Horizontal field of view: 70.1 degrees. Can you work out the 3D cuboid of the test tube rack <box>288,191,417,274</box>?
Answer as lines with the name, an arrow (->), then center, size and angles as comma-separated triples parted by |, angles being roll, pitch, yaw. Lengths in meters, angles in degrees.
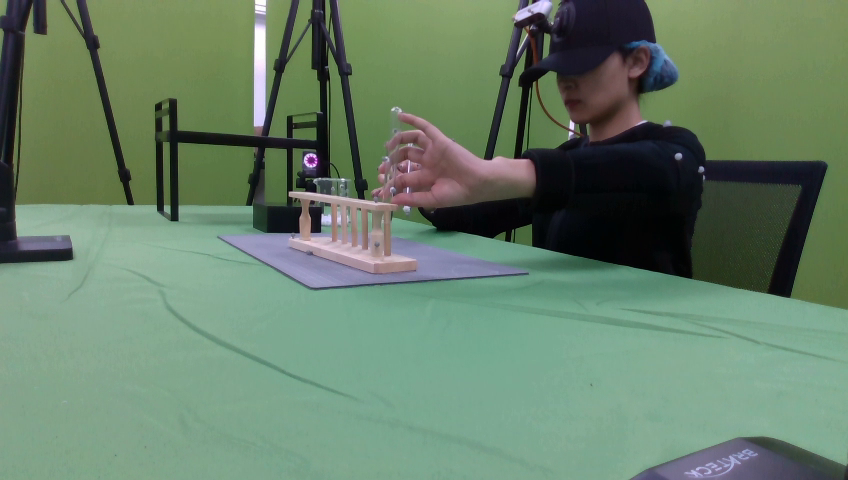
test tube rack -> -0.106, -0.017, 0.835 | 0.067, 0.085, 0.241 | -3, 9, -37

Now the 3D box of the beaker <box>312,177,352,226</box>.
beaker -> -0.194, -0.081, 1.266 | 0.084, 0.100, 0.073 | -3, 9, -29

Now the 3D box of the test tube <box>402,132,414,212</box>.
test tube -> -0.027, -0.118, 1.042 | 0.017, 0.150, 0.017 | 2, -19, 1

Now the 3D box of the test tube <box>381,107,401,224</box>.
test tube -> -0.043, -0.094, 0.771 | 0.017, 0.150, 0.017 | 6, 15, -1
